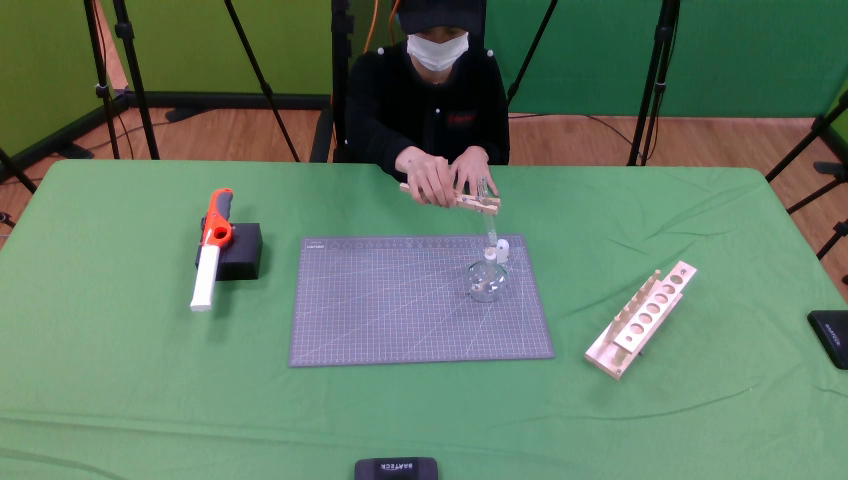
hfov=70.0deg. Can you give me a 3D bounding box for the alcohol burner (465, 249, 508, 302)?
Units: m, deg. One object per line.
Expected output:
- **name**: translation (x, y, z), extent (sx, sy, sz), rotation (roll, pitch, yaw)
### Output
- **alcohol burner**: translation (0.114, 0.057, 1.085), extent (0.078, 0.120, 0.077), rotation (2, 48, -2)

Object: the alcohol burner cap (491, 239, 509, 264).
- **alcohol burner cap**: translation (0.150, 0.020, 1.174), extent (0.034, 0.048, 0.033), rotation (2, 46, -2)

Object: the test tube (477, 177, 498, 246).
- **test tube**: translation (0.103, -0.043, 0.983), extent (0.017, 0.151, 0.017), rotation (-8, 47, 9)

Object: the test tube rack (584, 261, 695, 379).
- **test tube rack**: translation (0.380, 0.127, 1.062), extent (0.066, 0.085, 0.242), rotation (34, 53, 26)

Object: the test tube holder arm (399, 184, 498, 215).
- **test tube holder arm**: translation (0.037, -0.068, 0.992), extent (0.178, 0.015, 0.013), rotation (14, 52, 23)

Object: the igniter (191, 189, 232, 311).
- **igniter**: translation (-0.381, 0.008, 1.092), extent (0.057, 0.025, 0.274), rotation (-1, 50, -7)

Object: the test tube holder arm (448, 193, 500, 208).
- **test tube holder arm**: translation (0.080, -0.064, 0.979), extent (0.087, 0.015, 0.010), rotation (8, 50, 19)
